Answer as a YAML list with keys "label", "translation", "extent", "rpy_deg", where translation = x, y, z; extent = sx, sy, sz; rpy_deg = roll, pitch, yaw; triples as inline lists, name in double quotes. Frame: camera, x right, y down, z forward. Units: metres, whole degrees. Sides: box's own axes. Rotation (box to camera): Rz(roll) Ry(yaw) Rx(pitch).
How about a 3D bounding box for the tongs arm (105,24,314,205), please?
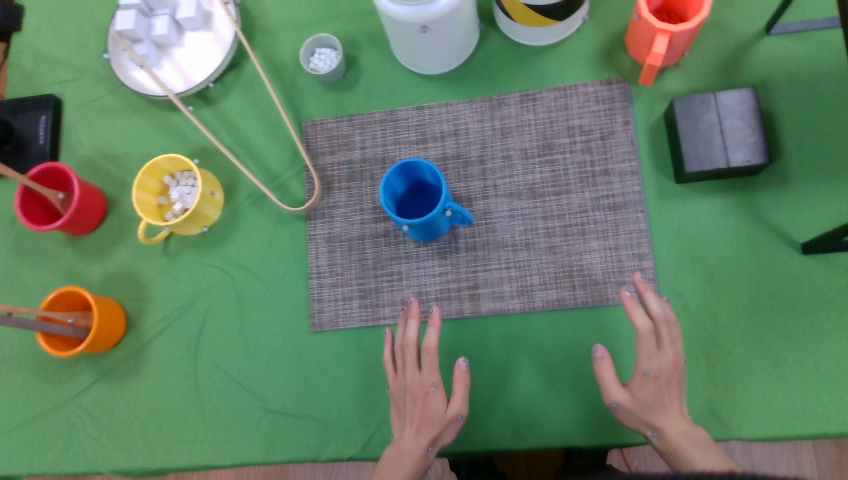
- label: "tongs arm"
  translation: [-0.303, -0.182, 0.850]
  extent: [0.051, 0.026, 0.384]
  rpy_deg: [-43, 84, -5]

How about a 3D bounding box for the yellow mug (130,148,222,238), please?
- label: "yellow mug"
  translation: [-0.352, -0.058, 0.840]
  extent: [0.099, 0.064, 0.130]
  rpy_deg: [33, 87, 12]

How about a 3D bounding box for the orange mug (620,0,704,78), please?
- label: "orange mug"
  translation: [0.297, -0.276, 0.771]
  extent: [0.083, 0.101, 0.126]
  rpy_deg: [17, 78, 11]

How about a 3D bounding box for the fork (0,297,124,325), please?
- label: "fork"
  translation: [-0.507, 0.087, 0.792]
  extent: [0.209, 0.018, 0.028]
  rpy_deg: [15, 78, -34]

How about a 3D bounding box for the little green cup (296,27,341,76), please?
- label: "little green cup"
  translation: [-0.147, -0.266, 0.862]
  extent: [0.061, 0.039, 0.061]
  rpy_deg: [-1, 81, 8]

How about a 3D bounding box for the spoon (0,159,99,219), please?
- label: "spoon"
  translation: [-0.547, -0.087, 0.833]
  extent: [0.195, 0.021, 0.041]
  rpy_deg: [34, 83, -31]

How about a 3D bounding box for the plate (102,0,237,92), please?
- label: "plate"
  translation: [-0.375, -0.315, 0.903]
  extent: [0.207, 0.039, 0.207]
  rpy_deg: [-1, 80, 8]

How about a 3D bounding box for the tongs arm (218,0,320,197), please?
- label: "tongs arm"
  translation: [-0.237, -0.234, 0.853]
  extent: [0.028, 0.028, 0.386]
  rpy_deg: [-29, 84, -6]

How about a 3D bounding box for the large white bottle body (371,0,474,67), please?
- label: "large white bottle body"
  translation: [-0.005, -0.322, 0.777]
  extent: [0.130, 0.185, 0.130]
  rpy_deg: [-1, 79, 8]

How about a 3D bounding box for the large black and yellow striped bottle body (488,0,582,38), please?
- label: "large black and yellow striped bottle body"
  translation: [0.142, -0.357, 0.763]
  extent: [0.130, 0.185, 0.130]
  rpy_deg: [-2, 79, 8]

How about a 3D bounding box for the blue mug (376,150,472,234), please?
- label: "blue mug"
  translation: [0.006, -0.053, 0.765]
  extent: [0.116, 0.106, 0.082]
  rpy_deg: [20, 83, 11]

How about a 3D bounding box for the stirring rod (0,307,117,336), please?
- label: "stirring rod"
  translation: [-0.497, 0.104, 0.791]
  extent: [0.006, 0.178, 0.014]
  rpy_deg: [-26, 54, 47]
